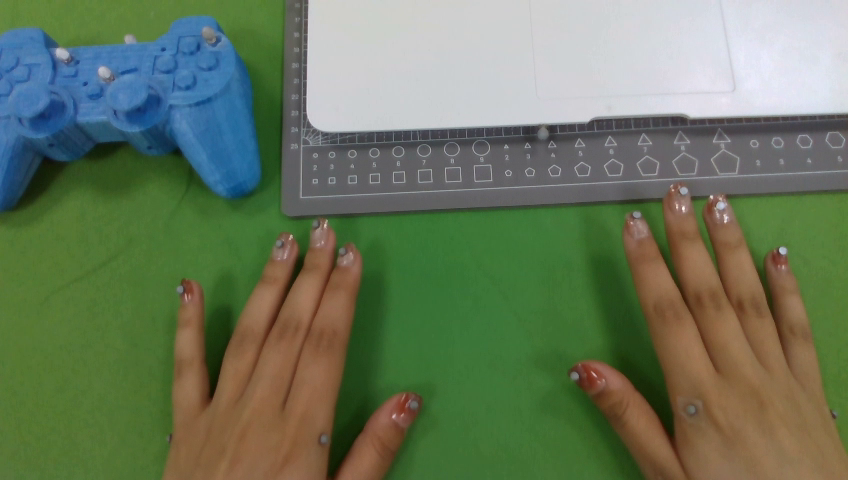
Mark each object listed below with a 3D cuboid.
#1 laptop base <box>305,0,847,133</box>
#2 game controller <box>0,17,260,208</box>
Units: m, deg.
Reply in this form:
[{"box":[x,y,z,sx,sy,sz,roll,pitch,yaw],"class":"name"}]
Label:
[{"box":[0.110,-0.173,0.355,0.354,0.023,0.234,-2,77,1],"class":"laptop base"},{"box":[-0.166,-0.070,0.318,0.155,0.052,0.096,-2,69,0],"class":"game controller"}]
